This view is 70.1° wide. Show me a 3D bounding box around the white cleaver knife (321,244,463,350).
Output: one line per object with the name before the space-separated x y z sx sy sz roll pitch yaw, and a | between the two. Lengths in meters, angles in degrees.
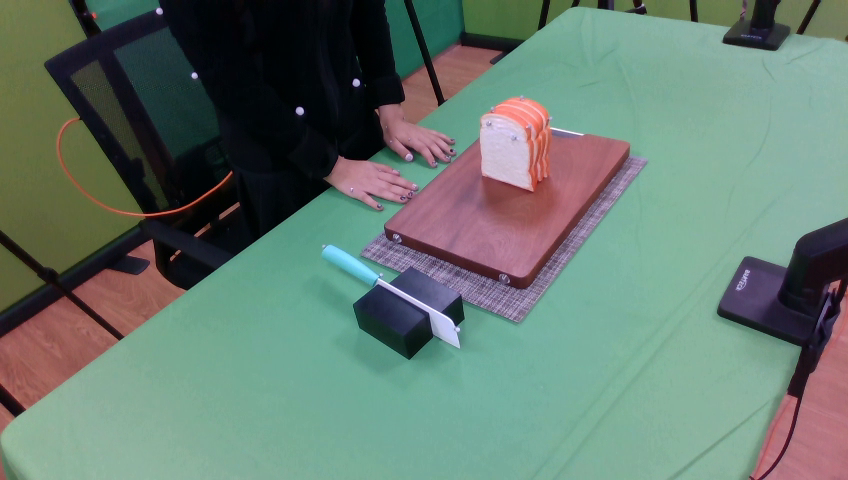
white cleaver knife | -0.056 0.080 0.868 0.284 0.066 0.021 28 47 37

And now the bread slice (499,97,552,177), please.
bread slice | 0.172 -0.179 1.034 0.104 0.132 0.019 24 46 31

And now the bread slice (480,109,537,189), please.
bread slice | 0.138 -0.154 1.008 0.106 0.135 0.018 19 49 35
